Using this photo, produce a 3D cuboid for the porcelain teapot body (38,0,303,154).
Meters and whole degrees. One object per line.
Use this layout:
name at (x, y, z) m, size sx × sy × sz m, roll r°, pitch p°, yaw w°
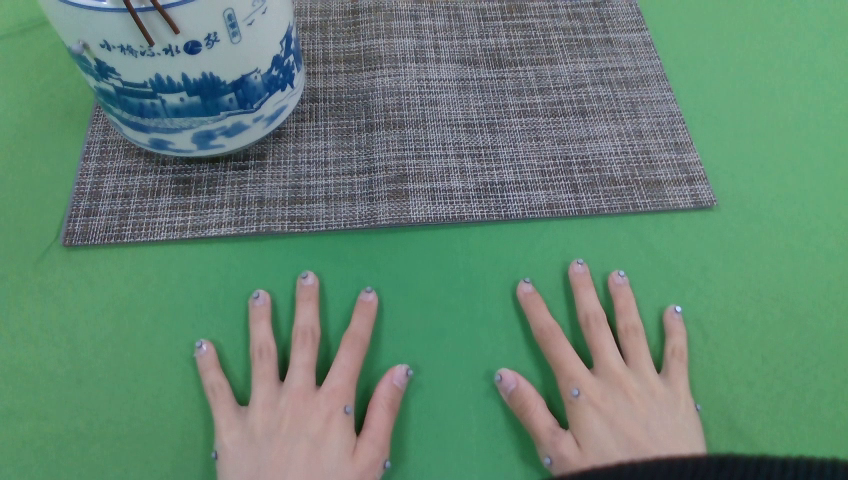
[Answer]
porcelain teapot body at (-0.165, -0.192, 0.382) m, size 0.145 × 0.227 × 0.203 m, roll -9°, pitch 60°, yaw -7°
